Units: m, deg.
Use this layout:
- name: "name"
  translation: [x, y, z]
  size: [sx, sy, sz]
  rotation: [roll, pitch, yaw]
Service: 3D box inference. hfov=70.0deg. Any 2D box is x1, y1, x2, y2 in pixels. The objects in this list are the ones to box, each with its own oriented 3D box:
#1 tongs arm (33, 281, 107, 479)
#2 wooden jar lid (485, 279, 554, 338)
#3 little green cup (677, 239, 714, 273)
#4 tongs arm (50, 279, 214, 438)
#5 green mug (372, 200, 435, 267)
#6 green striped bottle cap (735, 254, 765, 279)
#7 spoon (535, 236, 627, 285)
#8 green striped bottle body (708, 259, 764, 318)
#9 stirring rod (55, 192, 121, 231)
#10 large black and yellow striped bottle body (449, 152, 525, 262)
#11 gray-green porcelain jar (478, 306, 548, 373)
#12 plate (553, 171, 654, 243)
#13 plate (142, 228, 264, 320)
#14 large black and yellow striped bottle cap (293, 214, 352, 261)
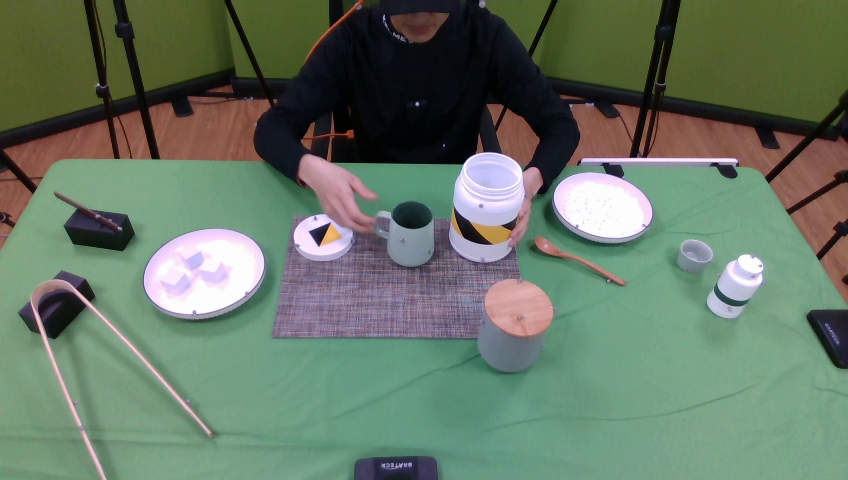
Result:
- name: "tongs arm"
  translation: [-0.517, 0.214, 0.910]
  size: [0.051, 0.026, 0.383]
  rotation: [-29, 63, -27]
- name: "wooden jar lid"
  translation: [0.147, 0.108, 0.940]
  size: [0.108, 0.021, 0.107]
  rotation: [4, 47, -4]
- name: "little green cup"
  translation: [0.530, 0.033, 1.189]
  size: [0.061, 0.039, 0.061]
  rotation: [2, 47, -2]
- name: "tongs arm"
  translation: [-0.459, 0.178, 0.949]
  size: [0.386, 0.028, 0.028]
  rotation: [37, 60, 17]
- name: "green mug"
  translation: [-0.040, -0.015, 1.146]
  size: [0.125, 0.105, 0.092]
  rotation: [16, 48, 12]
- name: "green striped bottle cap"
  translation: [0.566, 0.046, 1.051]
  size: [0.044, 0.020, 0.044]
  rotation: [1, 45, 0]
- name: "spoon"
  translation: [0.304, 0.040, 1.178]
  size: [0.193, 0.022, 0.041]
  rotation: [25, 34, 19]
- name: "green striped bottle body"
  translation: [0.563, 0.081, 1.089]
  size: [0.063, 0.120, 0.063]
  rotation: [2, 46, -2]
- name: "stirring rod"
  translation: [-0.632, -0.055, 1.138]
  size: [0.175, 0.014, 0.006]
  rotation: [24, 50, 19]
- name: "large black and yellow striped bottle body"
  translation: [0.119, -0.062, 1.146]
  size: [0.131, 0.185, 0.130]
  rotation: [2, 46, -2]
- name: "gray-green porcelain jar"
  translation: [0.144, 0.148, 0.989]
  size: [0.106, 0.127, 0.105]
  rotation: [2, 50, -2]
- name: "plate"
  translation: [0.373, -0.066, 1.274]
  size: [0.209, 0.038, 0.208]
  rotation: [2, 46, -2]
- name: "plate"
  translation: [-0.394, 0.064, 1.095]
  size: [0.208, 0.039, 0.206]
  rotation: [2, 46, -2]
- name: "large black and yellow striped bottle cap"
  translation: [-0.198, -0.007, 1.187]
  size: [0.115, 0.019, 0.114]
  rotation: [3, 47, -3]
